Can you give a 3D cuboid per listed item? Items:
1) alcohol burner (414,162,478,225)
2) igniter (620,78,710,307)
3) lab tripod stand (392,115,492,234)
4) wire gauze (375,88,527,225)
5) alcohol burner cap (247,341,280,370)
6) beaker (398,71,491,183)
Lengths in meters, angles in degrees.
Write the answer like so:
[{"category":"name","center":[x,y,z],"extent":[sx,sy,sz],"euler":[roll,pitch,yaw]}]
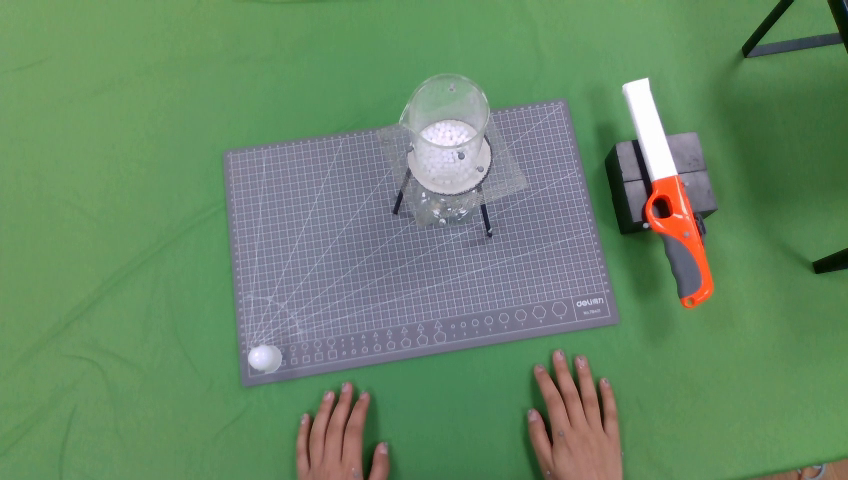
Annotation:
[{"category":"alcohol burner","center":[0.027,-0.059,0.702],"extent":[0.078,0.119,0.077],"euler":[0,77,1]},{"category":"igniter","center":[0.277,-0.060,0.700],"extent":[0.057,0.025,0.275],"euler":[-13,75,9]},{"category":"lab tripod stand","center":[0.028,-0.078,0.697],"extent":[0.148,0.132,0.147],"euler":[0,74,2]},{"category":"wire gauze","center":[0.027,-0.088,0.631],"extent":[0.125,0.011,0.121],"euler":[-22,77,-7]},{"category":"alcohol burner cap","center":[-0.186,0.131,0.693],"extent":[0.034,0.048,0.033],"euler":[0,75,0]},{"category":"beaker","center":[0.019,-0.103,0.586],"extent":[0.084,0.101,0.073],"euler":[-11,74,-2]}]
